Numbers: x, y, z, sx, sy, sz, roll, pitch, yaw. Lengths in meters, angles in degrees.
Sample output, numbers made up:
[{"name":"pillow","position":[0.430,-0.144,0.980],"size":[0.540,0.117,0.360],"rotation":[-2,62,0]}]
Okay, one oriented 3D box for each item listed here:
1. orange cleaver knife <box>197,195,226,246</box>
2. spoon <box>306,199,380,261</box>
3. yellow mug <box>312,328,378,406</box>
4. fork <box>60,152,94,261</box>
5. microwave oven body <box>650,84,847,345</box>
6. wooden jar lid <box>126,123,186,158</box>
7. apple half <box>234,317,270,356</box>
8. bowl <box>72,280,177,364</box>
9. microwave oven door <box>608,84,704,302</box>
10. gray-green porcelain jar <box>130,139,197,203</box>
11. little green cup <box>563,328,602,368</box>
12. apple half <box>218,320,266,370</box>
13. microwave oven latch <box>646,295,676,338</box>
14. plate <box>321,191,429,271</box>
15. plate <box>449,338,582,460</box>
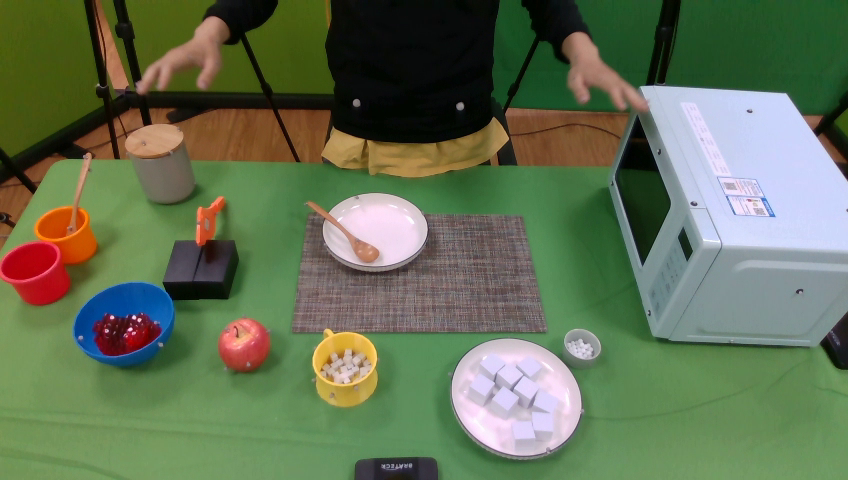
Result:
[{"name":"orange cleaver knife","position":[-0.405,-0.041,1.157],"size":[0.012,0.077,0.210],"rotation":[2,14,-7]},{"name":"spoon","position":[-0.160,-0.023,1.170],"size":[0.193,0.022,0.041],"rotation":[41,62,16]},{"name":"yellow mug","position":[-0.132,0.193,0.971],"size":[0.100,0.064,0.130],"rotation":[-22,51,-22]},{"name":"fork","position":[-0.637,-0.063,1.119],"size":[0.028,0.018,0.207],"rotation":[11,90,15]},{"name":"microwave oven body","position":[0.568,-0.054,1.116],"size":[0.326,0.261,0.439],"rotation":[2,46,-1]},{"name":"wooden jar lid","position":[-0.519,-0.190,1.179],"size":[0.108,0.021,0.107],"rotation":[2,44,-2]},{"name":"apple half","position":[-0.273,0.154,0.992],"size":[0.081,0.081,0.033],"rotation":[33,56,25]},{"name":"bowl","position":[-0.473,0.147,0.982],"size":[0.151,0.077,0.150],"rotation":[2,46,-2]},{"name":"microwave oven door","position":[0.424,-0.096,1.138],"size":[0.039,0.245,0.353],"rotation":[2,46,-1]},{"name":"gray-green porcelain jar","position":[-0.522,-0.148,1.224],"size":[0.106,0.127,0.105],"rotation":[2,47,-2]},{"name":"little green cup","position":[0.266,0.185,1.025],"size":[0.061,0.039,0.061],"rotation":[2,44,-2]},{"name":"apple half","position":[-0.298,0.176,0.971],"size":[0.080,0.075,0.053],"rotation":[35,57,22]},{"name":"microwave oven latch","position":[0.412,0.133,1.060],"size":[0.030,0.029,0.078],"rotation":[3,46,0]},{"name":"plate","position":[-0.094,-0.015,1.185],"size":[0.209,0.038,0.208],"rotation":[2,46,-2]},{"name":"plate","position":[0.141,0.251,0.956],"size":[0.208,0.039,0.206],"rotation":[2,46,-2]}]
